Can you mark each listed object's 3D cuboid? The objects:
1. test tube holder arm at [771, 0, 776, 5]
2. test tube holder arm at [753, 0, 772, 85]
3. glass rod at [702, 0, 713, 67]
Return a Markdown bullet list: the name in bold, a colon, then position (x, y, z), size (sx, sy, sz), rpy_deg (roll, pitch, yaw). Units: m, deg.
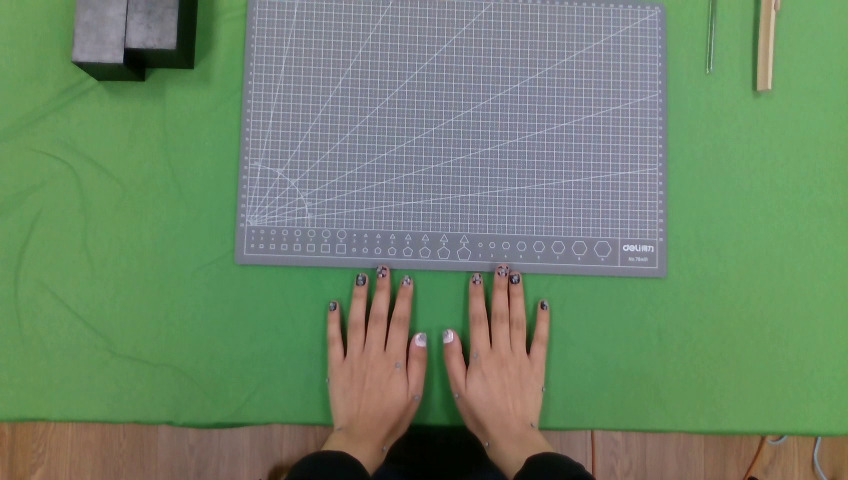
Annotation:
- **test tube holder arm**: position (0.382, -0.300, 0.665), size (0.010, 0.015, 0.087), rpy_deg (11, 84, -31)
- **test tube holder arm**: position (0.371, -0.257, 0.658), size (0.013, 0.015, 0.178), rpy_deg (11, 85, -31)
- **glass rod**: position (0.315, -0.287, 0.666), size (0.008, 0.008, 0.199), rpy_deg (6, 85, -2)
